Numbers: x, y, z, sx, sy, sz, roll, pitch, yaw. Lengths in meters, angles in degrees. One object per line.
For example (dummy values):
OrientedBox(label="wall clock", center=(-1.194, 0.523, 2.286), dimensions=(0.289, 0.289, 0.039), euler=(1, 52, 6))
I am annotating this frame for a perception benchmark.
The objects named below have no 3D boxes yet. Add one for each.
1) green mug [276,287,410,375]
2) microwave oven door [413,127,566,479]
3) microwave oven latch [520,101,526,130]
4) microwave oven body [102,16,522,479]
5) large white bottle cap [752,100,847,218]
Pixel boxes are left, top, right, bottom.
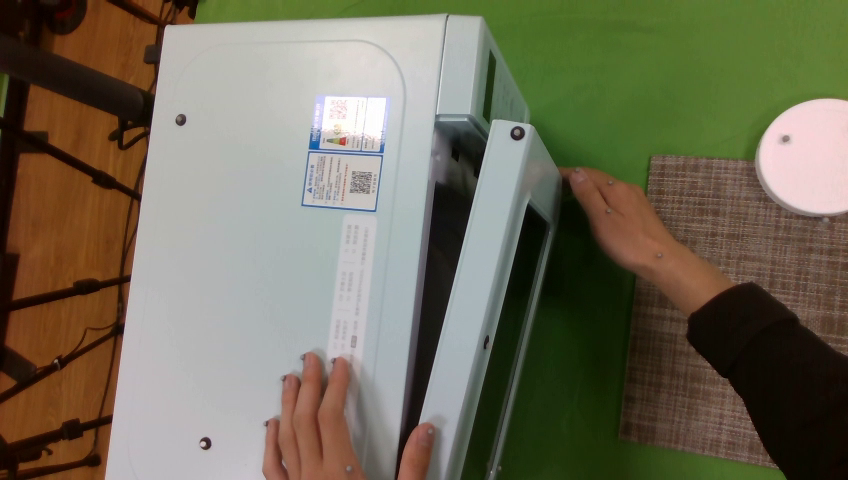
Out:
OrientedBox(label="green mug", center=(-0.077, 0.092, 0.625), dimensions=(0.125, 0.105, 0.092), euler=(-8, 83, 14))
OrientedBox(label="microwave oven door", center=(0.060, 0.099, 0.550), dimensions=(0.039, 0.245, 0.355), euler=(13, 89, 20))
OrientedBox(label="microwave oven latch", center=(0.095, -0.111, 0.665), dimensions=(0.030, 0.029, 0.079), euler=(5, 87, 18))
OrientedBox(label="microwave oven body", center=(-0.095, 0.043, 0.612), dimensions=(0.325, 0.261, 0.441), euler=(5, 87, 18))
OrientedBox(label="large white bottle cap", center=(0.385, -0.079, 0.591), dimensions=(0.114, 0.018, 0.114), euler=(-2, 84, 18))
